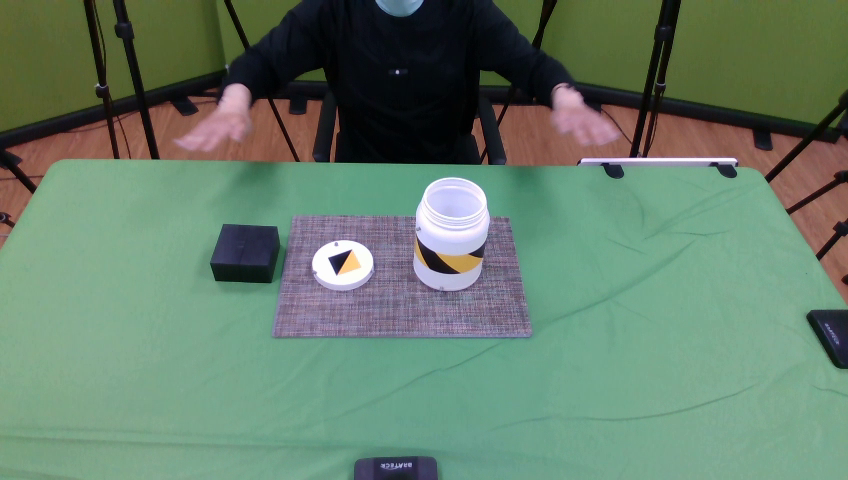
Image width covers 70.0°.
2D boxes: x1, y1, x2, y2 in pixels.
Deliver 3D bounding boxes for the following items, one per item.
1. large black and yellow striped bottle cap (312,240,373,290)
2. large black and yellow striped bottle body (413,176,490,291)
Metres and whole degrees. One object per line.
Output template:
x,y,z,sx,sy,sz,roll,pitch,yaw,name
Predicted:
-0.153,0.046,1.140,0.115,0.019,0.114,3,47,-3,large black and yellow striped bottle cap
0.049,-0.011,1.091,0.131,0.185,0.130,2,46,-2,large black and yellow striped bottle body
